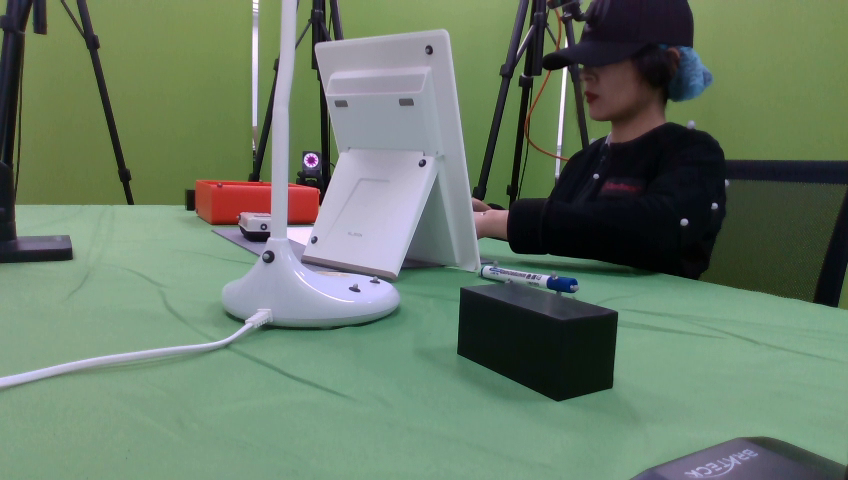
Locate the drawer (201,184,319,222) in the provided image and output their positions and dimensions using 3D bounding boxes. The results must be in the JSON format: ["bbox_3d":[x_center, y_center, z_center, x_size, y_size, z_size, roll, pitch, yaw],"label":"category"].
[{"bbox_3d":[-0.353,-0.082,1.296,0.213,0.073,0.193,-2,10,-28],"label":"drawer"}]

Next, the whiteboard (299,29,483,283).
[{"bbox_3d":[-0.074,-0.082,0.742,0.216,0.305,0.144,9,29,38],"label":"whiteboard"}]

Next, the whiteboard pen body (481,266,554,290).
[{"bbox_3d":[0.115,0.044,0.695,0.017,0.017,0.140,-3,6,-35],"label":"whiteboard pen body"}]

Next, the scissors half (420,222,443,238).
[{"bbox_3d":[0.011,-0.017,1.217,0.040,0.013,0.175,17,10,6],"label":"scissors half"}]

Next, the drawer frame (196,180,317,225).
[{"bbox_3d":[-0.359,-0.083,1.292,0.215,0.082,0.200,-2,10,-30],"label":"drawer frame"}]

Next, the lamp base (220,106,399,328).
[{"bbox_3d":[-0.101,-0.023,0.531,0.160,0.180,0.179,4,10,10],"label":"lamp base"}]

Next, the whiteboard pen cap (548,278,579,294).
[{"bbox_3d":[0.148,0.049,0.647,0.018,0.018,0.033,-3,3,-36],"label":"whiteboard pen cap"}]

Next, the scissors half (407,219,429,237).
[{"bbox_3d":[-0.008,-0.022,1.217,0.040,0.013,0.175,9,10,-10],"label":"scissors half"}]

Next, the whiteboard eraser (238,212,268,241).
[{"bbox_3d":[-0.272,-0.024,0.998,0.056,0.042,0.112,-2,9,-24],"label":"whiteboard eraser"}]
